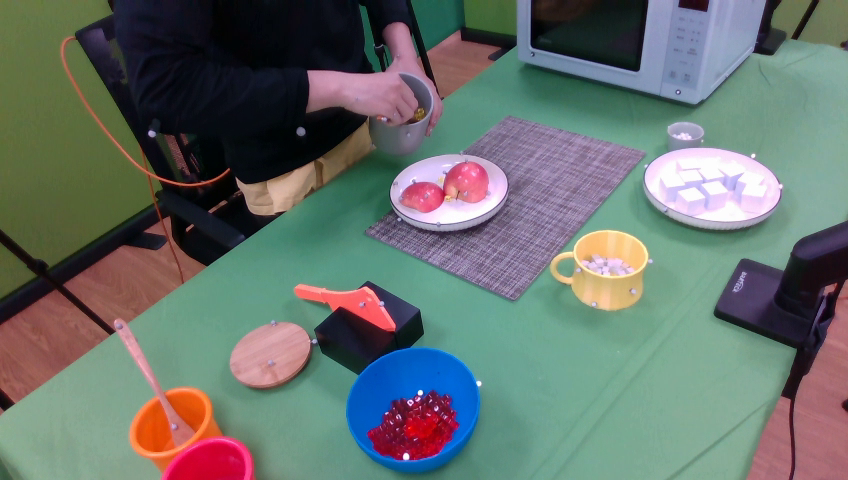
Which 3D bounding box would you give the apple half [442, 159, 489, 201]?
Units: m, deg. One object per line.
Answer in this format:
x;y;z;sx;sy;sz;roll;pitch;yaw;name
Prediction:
0.074;-0.110;1.047;0.080;0.053;0.075;21;46;30;apple half

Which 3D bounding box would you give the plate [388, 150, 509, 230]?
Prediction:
0.043;-0.083;1.042;0.209;0.038;0.208;-4;40;4;plate

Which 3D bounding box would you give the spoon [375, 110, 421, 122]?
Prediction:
-0.044;-0.206;1.002;0.041;0.021;0.194;27;14;11;spoon

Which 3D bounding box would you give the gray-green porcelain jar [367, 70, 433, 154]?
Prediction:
-0.046;-0.219;1.065;0.106;0.126;0.105;3;71;-9;gray-green porcelain jar

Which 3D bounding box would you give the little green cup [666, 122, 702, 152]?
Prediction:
0.471;-0.184;1.102;0.061;0.039;0.061;-5;41;5;little green cup

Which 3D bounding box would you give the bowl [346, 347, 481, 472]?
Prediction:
-0.008;0.205;0.691;0.151;0.077;0.150;-4;40;4;bowl

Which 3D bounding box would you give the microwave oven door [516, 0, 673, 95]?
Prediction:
0.344;-0.458;1.256;0.353;0.245;0.039;26;51;33;microwave oven door

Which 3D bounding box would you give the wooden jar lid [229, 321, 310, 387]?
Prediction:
-0.207;0.156;0.820;0.108;0.021;0.108;-3;39;3;wooden jar lid

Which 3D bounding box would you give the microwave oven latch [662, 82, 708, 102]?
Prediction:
0.518;-0.299;1.203;0.078;0.029;0.030;29;53;36;microwave oven latch

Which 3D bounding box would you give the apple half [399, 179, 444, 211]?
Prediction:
-0.004;-0.088;1.046;0.081;0.033;0.081;-2;43;2;apple half

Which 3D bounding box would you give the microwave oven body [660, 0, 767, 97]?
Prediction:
0.473;-0.516;1.313;0.438;0.261;0.327;26;51;34;microwave oven body

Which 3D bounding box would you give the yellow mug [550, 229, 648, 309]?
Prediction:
0.245;0.040;0.857;0.130;0.064;0.099;1;42;11;yellow mug

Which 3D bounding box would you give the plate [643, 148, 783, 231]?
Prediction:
0.464;-0.080;0.986;0.207;0.039;0.206;-4;41;4;plate

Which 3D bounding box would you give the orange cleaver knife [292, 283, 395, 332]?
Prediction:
-0.115;0.092;0.835;0.209;0.077;0.012;1;32;48;orange cleaver knife

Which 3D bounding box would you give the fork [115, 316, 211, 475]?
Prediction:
-0.309;0.179;0.707;0.028;0.018;0.207;-30;89;-23;fork
